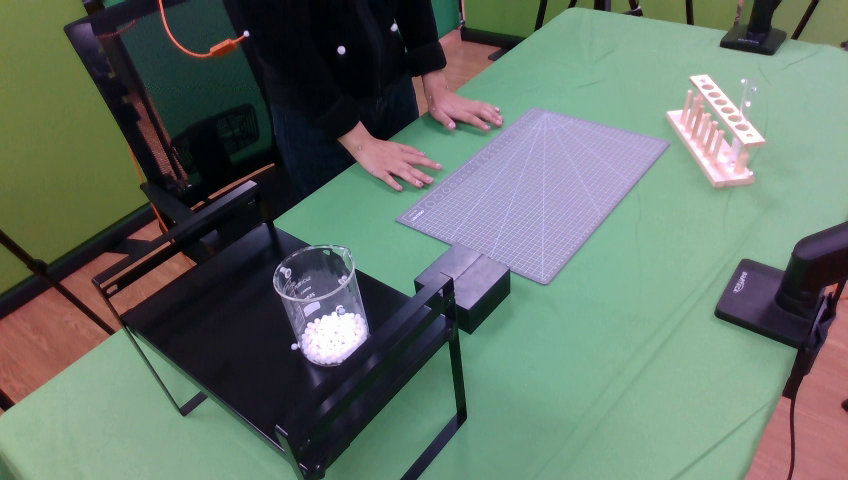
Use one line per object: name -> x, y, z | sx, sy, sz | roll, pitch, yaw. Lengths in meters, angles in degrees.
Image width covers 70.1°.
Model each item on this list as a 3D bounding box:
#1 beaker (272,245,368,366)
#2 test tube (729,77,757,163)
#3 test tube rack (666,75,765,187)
beaker -> -0.093, 0.064, 0.578 | 0.073, 0.101, 0.084 | 21, 48, 29
test tube -> 0.525, -0.195, 0.997 | 0.017, 0.151, 0.017 | -4, 36, 4
test tube rack -> 0.512, -0.201, 1.082 | 0.067, 0.085, 0.241 | -6, 41, 2
